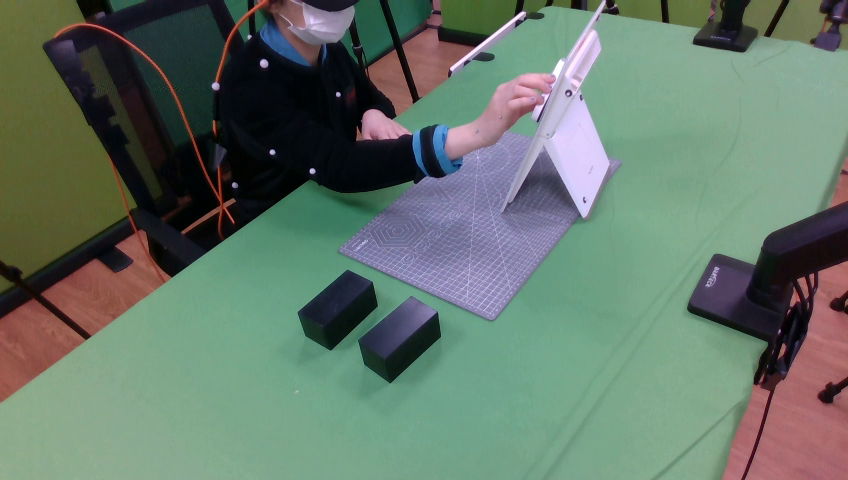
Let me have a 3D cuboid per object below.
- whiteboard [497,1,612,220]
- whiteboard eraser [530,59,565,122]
[{"bbox_3d":[0.260,-0.177,0.963,0.143,0.306,0.217,28,48,9],"label":"whiteboard"},{"bbox_3d":[0.186,-0.222,0.899,0.019,0.041,0.101,28,85,9],"label":"whiteboard eraser"}]
